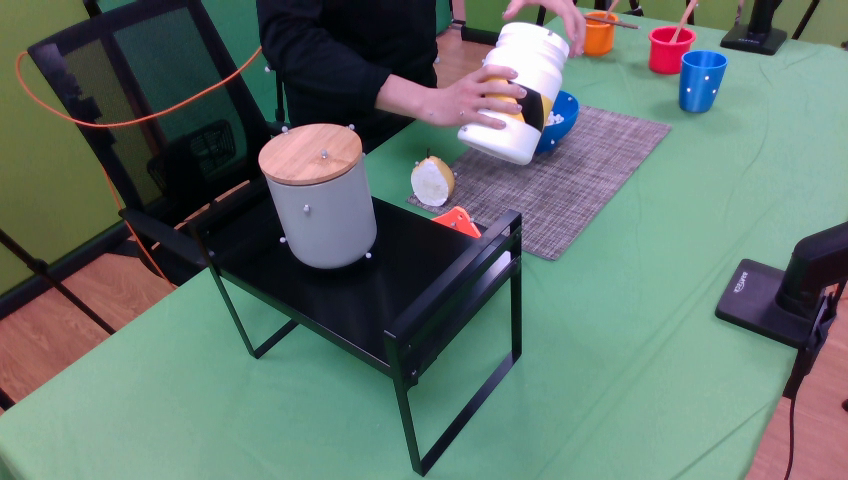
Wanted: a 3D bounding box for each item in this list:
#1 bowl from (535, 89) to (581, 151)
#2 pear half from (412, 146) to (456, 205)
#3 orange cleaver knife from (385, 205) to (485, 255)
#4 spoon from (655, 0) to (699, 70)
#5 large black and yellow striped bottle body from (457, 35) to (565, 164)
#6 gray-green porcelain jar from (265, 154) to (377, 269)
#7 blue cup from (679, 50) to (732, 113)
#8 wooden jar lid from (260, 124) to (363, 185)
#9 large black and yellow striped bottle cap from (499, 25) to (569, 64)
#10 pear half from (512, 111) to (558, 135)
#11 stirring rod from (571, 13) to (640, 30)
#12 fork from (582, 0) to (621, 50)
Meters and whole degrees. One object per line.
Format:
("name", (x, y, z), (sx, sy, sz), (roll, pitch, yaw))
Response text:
("bowl", (0.220, -0.223, 1.155), (0.151, 0.077, 0.150), (-4, 40, 4))
("pear half", (0.019, -0.120, 1.042), (0.076, 0.110, 0.056), (11, 43, 16))
("orange cleaver knife", (0.012, -0.010, 0.942), (0.012, 0.077, 0.210), (-36, 19, -35))
("spoon", (0.567, -0.463, 1.337), (0.041, 0.022, 0.193), (30, 97, 38))
("large black and yellow striped bottle body", (0.145, -0.229, 0.984), (0.131, 0.184, 0.130), (21, 6, -2))
("gray-green porcelain jar", (-0.112, -0.039, 0.685), (0.106, 0.127, 0.105), (-4, 40, 4))
("blue cup", (0.546, -0.309, 1.193), (0.092, 0.100, 0.092), (-4, 39, 4))
("wooden jar lid", (-0.119, -0.088, 0.645), (0.108, 0.021, 0.108), (-4, 40, 4))
("large black and yellow striped bottle cap", (0.178, -0.313, 0.977), (0.114, 0.116, 0.019), (20, 91, 29))
("pear half", (0.212, -0.227, 1.152), (0.088, 0.031, 0.070), (7, 44, 10))
("stirring rod", (0.419, -0.508, 1.404), (0.174, 0.006, 0.014), (28, 55, 35))
("fork", (0.446, -0.539, 1.438), (0.207, 0.019, 0.028), (-57, 36, 12))
